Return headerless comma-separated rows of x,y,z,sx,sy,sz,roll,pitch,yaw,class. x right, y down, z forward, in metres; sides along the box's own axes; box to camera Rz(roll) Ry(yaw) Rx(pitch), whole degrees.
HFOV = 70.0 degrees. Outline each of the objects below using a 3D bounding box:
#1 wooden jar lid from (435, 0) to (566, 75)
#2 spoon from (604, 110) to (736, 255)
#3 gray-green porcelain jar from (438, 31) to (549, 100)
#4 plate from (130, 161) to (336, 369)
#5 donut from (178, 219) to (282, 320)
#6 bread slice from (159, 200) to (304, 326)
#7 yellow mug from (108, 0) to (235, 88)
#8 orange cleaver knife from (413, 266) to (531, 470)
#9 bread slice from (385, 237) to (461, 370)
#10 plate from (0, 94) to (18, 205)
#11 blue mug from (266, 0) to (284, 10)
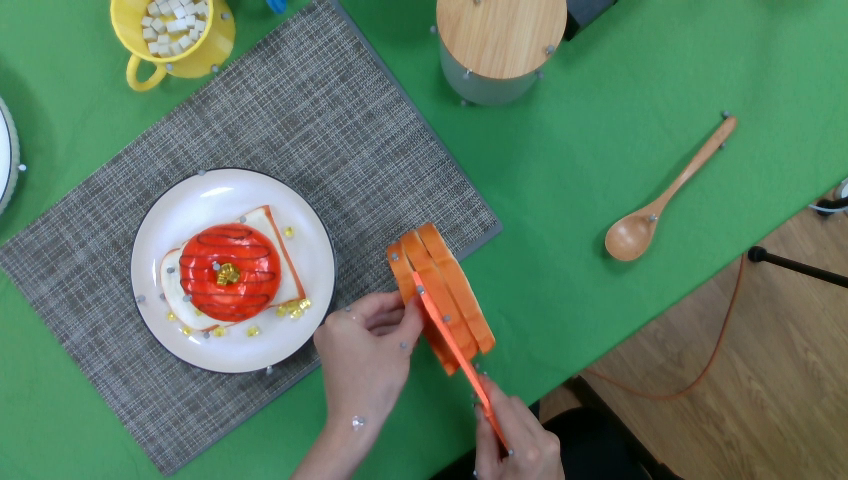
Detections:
0.063,-0.191,0.505,0.108,0.020,0.108,0,93,-2,wooden jar lid
0.256,-0.060,0.621,0.041,0.022,0.194,42,93,18,spoon
0.065,-0.192,0.568,0.106,0.126,0.106,0,92,1,gray-green porcelain jar
-0.191,0.026,0.622,0.209,0.038,0.209,0,92,1,plate
-0.189,0.029,0.594,0.099,0.048,0.099,0,92,-2,donut
-0.203,0.032,0.626,0.131,0.019,0.105,-24,91,-2,bread slice
-0.256,-0.209,0.603,0.100,0.064,0.131,31,94,1,yellow mug
0.043,0.117,0.554,0.012,0.076,0.212,-29,107,3,orange cleaver knife
0.001,0.058,0.593,0.018,0.107,0.134,-29,85,1,bread slice
-0.519,-0.096,0.627,0.208,0.039,0.207,0,92,1,plate
-0.159,-0.280,0.579,0.082,0.106,0.116,-17,92,2,blue mug
